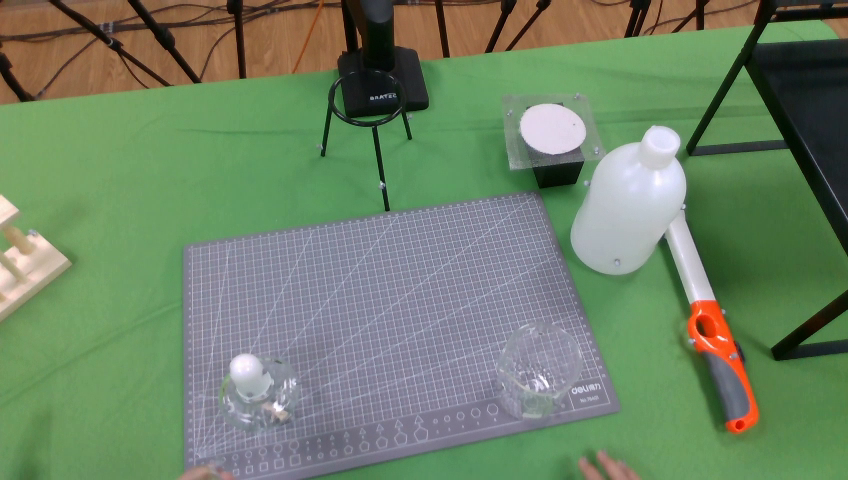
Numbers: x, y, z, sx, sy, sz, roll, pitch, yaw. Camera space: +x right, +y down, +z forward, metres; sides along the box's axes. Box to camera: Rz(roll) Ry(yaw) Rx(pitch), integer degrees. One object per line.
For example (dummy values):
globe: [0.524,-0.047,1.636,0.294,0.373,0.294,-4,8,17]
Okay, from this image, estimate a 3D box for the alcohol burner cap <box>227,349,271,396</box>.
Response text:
alcohol burner cap: [-0.164,0.120,0.559,0.034,0.048,0.033,-1,54,2]

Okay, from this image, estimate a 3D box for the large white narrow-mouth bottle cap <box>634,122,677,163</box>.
large white narrow-mouth bottle cap: [0.229,-0.097,0.602,0.038,0.024,0.037,1,58,-1]

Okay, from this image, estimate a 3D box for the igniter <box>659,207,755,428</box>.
igniter: [0.318,0.077,0.698,0.057,0.025,0.274,2,58,-13]

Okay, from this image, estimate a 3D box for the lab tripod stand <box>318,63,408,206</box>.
lab tripod stand: [-0.068,-0.136,0.751,0.148,0.132,0.147,2,59,-3]

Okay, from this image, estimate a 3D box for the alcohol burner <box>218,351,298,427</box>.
alcohol burner: [-0.165,0.139,0.591,0.078,0.120,0.077,2,57,-3]

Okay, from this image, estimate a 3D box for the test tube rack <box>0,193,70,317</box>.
test tube rack: [-0.517,0.066,0.641,0.066,0.086,0.242,34,64,17]

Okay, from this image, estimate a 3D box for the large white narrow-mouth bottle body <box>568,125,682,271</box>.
large white narrow-mouth bottle body: [0.227,-0.051,0.674,0.102,0.196,0.101,1,58,-1]

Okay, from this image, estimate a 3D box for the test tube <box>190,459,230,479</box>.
test tube: [-0.147,0.197,0.463,0.017,0.151,0.017,-1,54,1]

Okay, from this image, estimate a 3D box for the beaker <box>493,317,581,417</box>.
beaker: [0.107,0.133,0.612,0.084,0.101,0.073,-8,59,-5]

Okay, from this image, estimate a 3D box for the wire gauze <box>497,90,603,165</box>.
wire gauze: [0.160,-0.150,0.783,0.121,0.011,0.124,-3,59,-3]
